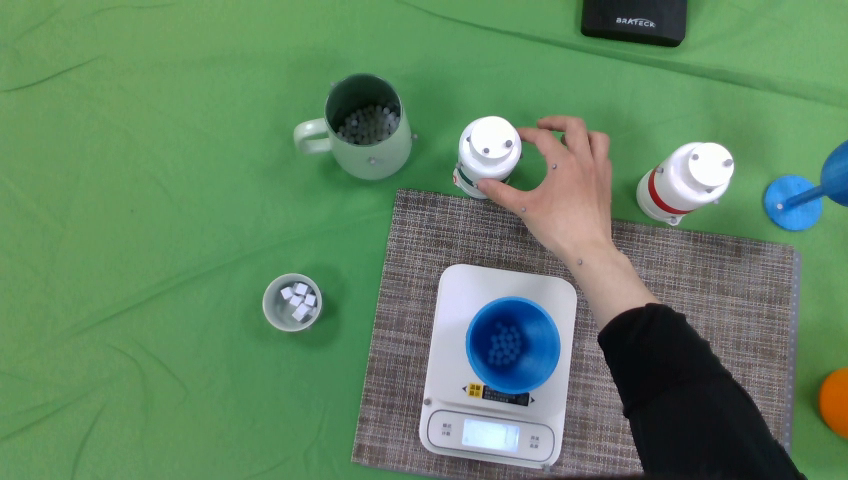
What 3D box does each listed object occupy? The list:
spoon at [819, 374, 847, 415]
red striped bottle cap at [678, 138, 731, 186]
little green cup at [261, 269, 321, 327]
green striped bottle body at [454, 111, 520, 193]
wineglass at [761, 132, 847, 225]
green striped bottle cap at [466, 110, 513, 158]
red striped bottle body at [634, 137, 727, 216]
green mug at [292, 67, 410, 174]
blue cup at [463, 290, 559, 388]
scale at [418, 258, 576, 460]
[{"bbox_3d":[0.487,0.179,0.579,0.022,0.192,0.041,24,88,-40],"label":"spoon"},{"bbox_3d":[0.268,-0.075,0.577,0.044,0.018,0.044,0,78,0],"label":"red striped bottle cap"},{"bbox_3d":[-0.139,0.063,0.649,0.061,0.039,0.061,0,81,-1],"label":"little green cup"},{"bbox_3d":[0.064,-0.093,0.634,0.063,0.119,0.063,0,80,0],"label":"green striped bottle body"},{"bbox_3d":[0.413,-0.063,0.603,0.074,0.173,0.073,0,80,1],"label":"wineglass"},{"bbox_3d":[0.063,-0.102,0.582,0.044,0.020,0.044,0,80,-1],"label":"green striped bottle cap"},{"bbox_3d":[0.268,-0.066,0.630,0.063,0.120,0.063,0,81,0],"label":"red striped bottle body"},{"bbox_3d":[-0.078,-0.121,0.645,0.125,0.105,0.092,-13,81,-2],"label":"green mug"},{"bbox_3d":[0.075,0.092,0.580,0.093,0.100,0.092,0,84,-2],"label":"blue cup"},{"bbox_3d":[0.078,0.124,0.641,0.148,0.031,0.200,8,82,1],"label":"scale"}]
